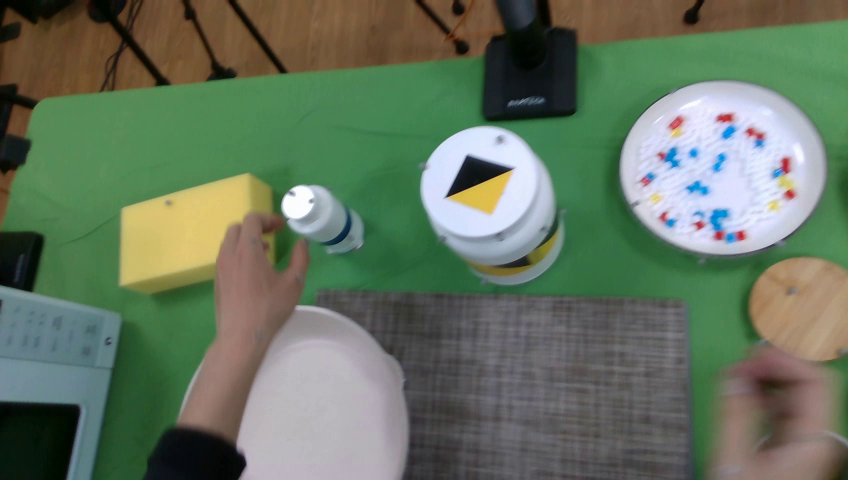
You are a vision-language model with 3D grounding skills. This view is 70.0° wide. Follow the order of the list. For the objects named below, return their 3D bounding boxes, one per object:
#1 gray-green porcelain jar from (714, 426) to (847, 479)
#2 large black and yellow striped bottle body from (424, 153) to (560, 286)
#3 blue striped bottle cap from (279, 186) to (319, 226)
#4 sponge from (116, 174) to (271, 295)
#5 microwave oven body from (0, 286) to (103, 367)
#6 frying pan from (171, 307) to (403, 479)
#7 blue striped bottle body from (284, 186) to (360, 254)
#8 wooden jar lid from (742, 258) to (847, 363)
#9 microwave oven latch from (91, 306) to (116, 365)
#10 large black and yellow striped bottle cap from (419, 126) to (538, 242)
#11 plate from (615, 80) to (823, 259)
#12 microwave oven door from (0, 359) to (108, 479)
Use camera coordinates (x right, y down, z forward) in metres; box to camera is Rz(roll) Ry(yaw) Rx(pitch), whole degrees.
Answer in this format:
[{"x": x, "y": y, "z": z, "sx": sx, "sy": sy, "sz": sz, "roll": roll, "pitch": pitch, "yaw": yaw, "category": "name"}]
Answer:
[{"x": 0.322, "y": 0.221, "z": 0.543, "sx": 0.105, "sy": 0.127, "sz": 0.105, "roll": -5, "pitch": 73, "yaw": 16, "category": "gray-green porcelain jar"}, {"x": 0.075, "y": -0.030, "z": 0.661, "sx": 0.130, "sy": 0.185, "sz": 0.130, "roll": -5, "pitch": 73, "yaw": 16, "category": "large black and yellow striped bottle body"}, {"x": -0.148, "y": -0.040, "z": 0.712, "sx": 0.044, "sy": 0.021, "sz": 0.044, "roll": -6, "pitch": 70, "yaw": 17, "category": "blue striped bottle cap"}, {"x": -0.320, "y": -0.004, "z": 0.844, "sx": 0.206, "sy": 0.061, "sz": 0.117, "roll": -13, "pitch": 71, "yaw": 13, "category": "sponge"}, {"x": -0.637, "y": 0.275, "z": 0.751, "sx": 0.325, "sy": 0.262, "sz": 0.439, "roll": 1, "pitch": 75, "yaw": 17, "category": "microwave oven body"}, {"x": -0.117, "y": 0.308, "z": 0.664, "sx": 0.307, "sy": 0.104, "sz": 0.483, "roll": -30, "pitch": 60, "yaw": 8, "category": "frying pan"}, {"x": -0.132, "y": -0.027, "z": 0.759, "sx": 0.063, "sy": 0.122, "sz": 0.062, "roll": -5, "pitch": 73, "yaw": 16, "category": "blue striped bottle body"}, {"x": 0.387, "y": 0.072, "z": 0.623, "sx": 0.108, "sy": 0.021, "sz": 0.108, "roll": -5, "pitch": 75, "yaw": 17, "category": "wooden jar lid"}, {"x": -0.451, "y": 0.132, "z": 0.838, "sx": 0.030, "sy": 0.030, "sz": 0.079, "roll": 2, "pitch": 76, "yaw": 18, "category": "microwave oven latch"}, {"x": 0.051, "y": -0.055, "z": 0.584, "sx": 0.114, "sy": 0.019, "sz": 0.114, "roll": -4, "pitch": 75, "yaw": 16, "category": "large black and yellow striped bottle cap"}, {"x": 0.322, "y": -0.078, "z": 0.676, "sx": 0.208, "sy": 0.038, "sz": 0.208, "roll": -5, "pitch": 73, "yaw": 17, "category": "plate"}, {"x": -0.503, "y": 0.315, "z": 0.691, "sx": 0.039, "sy": 0.246, "sz": 0.354, "roll": 0, "pitch": 74, "yaw": 18, "category": "microwave oven door"}]
